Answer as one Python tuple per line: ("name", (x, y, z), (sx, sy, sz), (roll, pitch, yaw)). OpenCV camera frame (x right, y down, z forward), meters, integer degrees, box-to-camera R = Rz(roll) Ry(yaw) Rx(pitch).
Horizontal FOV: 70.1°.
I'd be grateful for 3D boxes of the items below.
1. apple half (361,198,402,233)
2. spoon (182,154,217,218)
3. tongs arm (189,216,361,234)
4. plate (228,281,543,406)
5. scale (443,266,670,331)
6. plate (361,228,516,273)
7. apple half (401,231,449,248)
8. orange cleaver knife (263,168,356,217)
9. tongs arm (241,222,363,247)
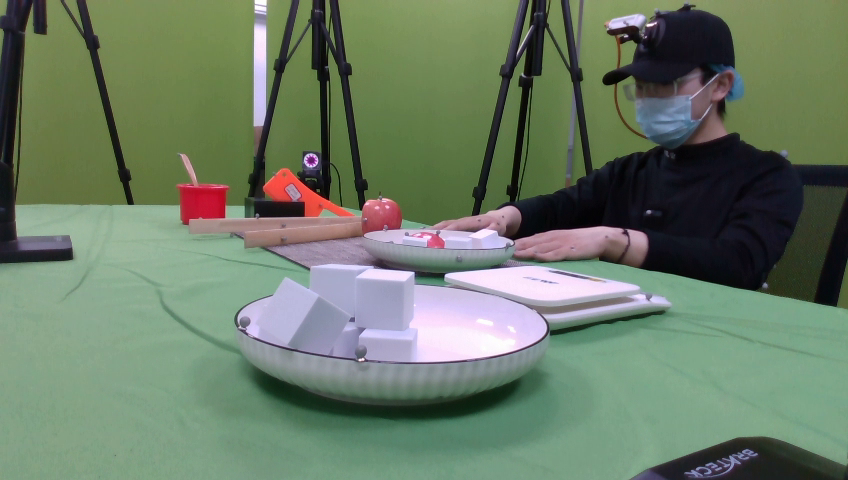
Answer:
("apple half", (-0.066, -0.032, 1.014), (0.053, 0.074, 0.081), (9, 6, 21))
("spoon", (-0.455, -0.107, 1.212), (0.042, 0.021, 0.193), (-6, 55, -35))
("tongs arm", (-0.220, -0.028, 1.088), (0.387, 0.026, 0.050), (-3, 8, -43))
("plate", (-0.025, 0.067, 0.413), (0.208, 0.039, 0.207), (3, 7, 0))
("scale", (0.131, 0.052, 0.603), (0.202, 0.031, 0.148), (-3, 9, -37))
("plate", (0.018, 0.013, 0.818), (0.209, 0.038, 0.209), (2, 7, 0))
("apple half", (0.003, 0.005, 0.843), (0.081, 0.033, 0.081), (1, 4, 0))
("orange cleaver knife", (-0.241, -0.078, 1.296), (0.212, 0.077, 0.012), (32, -11, -26))
("tongs arm", (-0.159, -0.016, 1.034), (0.028, 0.028, 0.389), (2, 6, 33))
